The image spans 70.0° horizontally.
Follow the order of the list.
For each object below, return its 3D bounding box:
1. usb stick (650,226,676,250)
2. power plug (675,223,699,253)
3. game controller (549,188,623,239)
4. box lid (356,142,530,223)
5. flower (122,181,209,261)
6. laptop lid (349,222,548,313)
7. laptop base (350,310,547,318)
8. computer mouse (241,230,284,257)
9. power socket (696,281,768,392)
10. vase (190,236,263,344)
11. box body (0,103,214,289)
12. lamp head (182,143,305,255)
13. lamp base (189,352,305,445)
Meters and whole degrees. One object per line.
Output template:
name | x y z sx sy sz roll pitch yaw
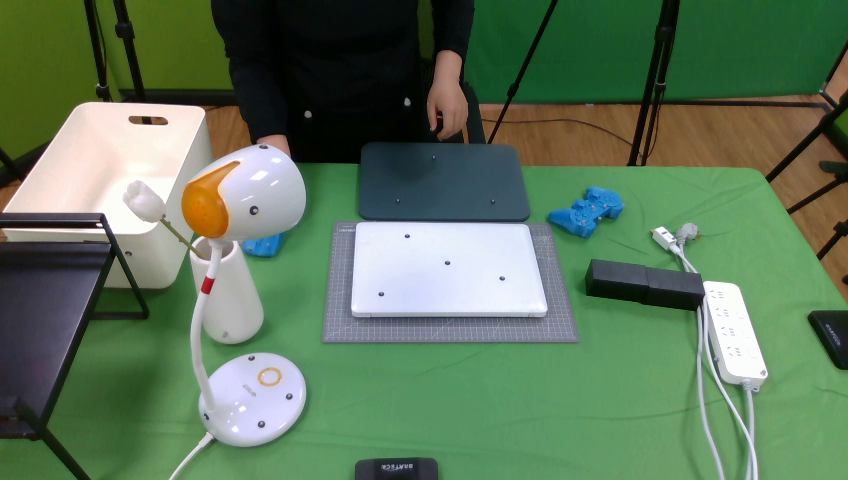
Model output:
usb stick | 0.485 -0.008 1.237 0.021 0.027 0.059 -22 44 -13
power plug | 0.537 0.000 1.243 0.053 0.035 0.072 19 82 -17
game controller | 0.345 -0.065 1.272 0.155 0.052 0.096 -31 58 -29
box lid | 0.040 -0.132 1.339 0.372 0.015 0.261 0 46 -4
flower | -0.329 0.029 0.905 0.038 0.364 0.044 -21 58 -1
laptop lid | 0.042 0.046 1.142 0.357 0.013 0.240 2 44 -3
laptop base | 0.041 0.056 1.149 0.355 0.023 0.234 0 42 -4
computer mouse | -0.309 -0.018 1.180 0.063 0.041 0.116 11 51 3
power socket | 0.543 0.161 1.077 0.072 0.033 0.225 5 46 2
vase | -0.317 0.081 0.971 0.098 0.201 0.097 3 47 -3
box body | -0.563 -0.087 1.139 0.254 0.161 0.361 2 46 -3
lamp head | -0.216 -0.044 0.697 0.112 0.113 0.123 23 31 17
lamp base | -0.268 0.196 0.876 0.160 0.181 0.179 25 52 20
